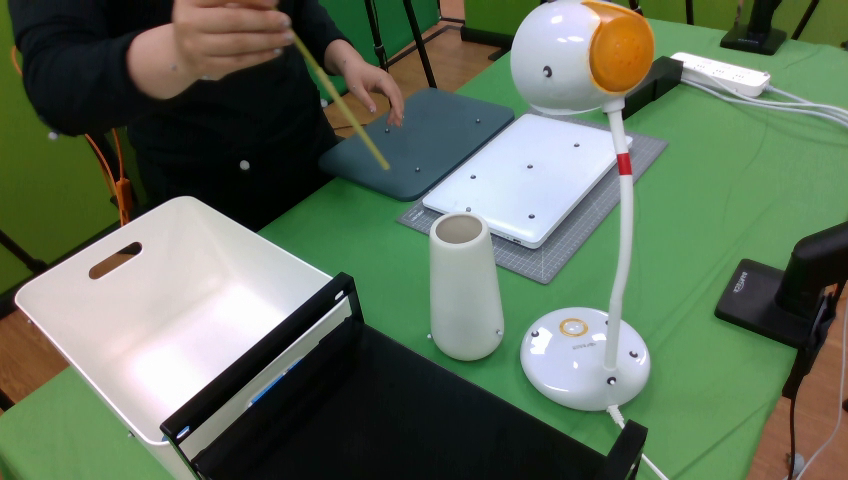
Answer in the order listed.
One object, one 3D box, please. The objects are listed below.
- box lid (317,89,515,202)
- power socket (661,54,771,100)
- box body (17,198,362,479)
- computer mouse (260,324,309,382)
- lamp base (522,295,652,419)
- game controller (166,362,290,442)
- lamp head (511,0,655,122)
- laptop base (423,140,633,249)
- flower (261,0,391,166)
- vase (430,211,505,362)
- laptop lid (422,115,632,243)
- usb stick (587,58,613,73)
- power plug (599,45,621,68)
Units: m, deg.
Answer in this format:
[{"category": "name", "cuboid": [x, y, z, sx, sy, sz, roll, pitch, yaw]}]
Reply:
[{"category": "box lid", "cuboid": [-0.009, -0.207, 1.236, 0.261, 0.015, 0.372, 23, 48, 32]}, {"category": "power socket", "cuboid": [0.615, -0.348, 1.285, 0.072, 0.033, 0.225, -36, 48, -28]}, {"category": "box body", "cuboid": [-0.285, 0.123, 0.766, 0.361, 0.161, 0.255, 25, 49, 33]}, {"category": "computer mouse", "cuboid": [-0.157, 0.155, 0.793, 0.116, 0.041, 0.063, 29, 50, 24]}, {"category": "lamp base", "cuboid": [0.201, 0.095, 0.710, 0.161, 0.181, 0.177, -16, 43, -10]}, {"category": "game controller", "cuboid": [-0.233, 0.210, 0.737, 0.096, 0.052, 0.155, 27, 52, 32]}, {"category": "lamp head", "cuboid": [0.155, -0.168, 0.564, 0.113, 0.113, 0.122, -18, 23, -12]}, {"category": "laptop base", "cuboid": [0.194, -0.117, 1.087, 0.233, 0.023, 0.355, 20, 47, 34]}, {"category": "flower", "cuboid": [-0.121, -0.187, 0.564, 0.043, 0.365, 0.038, 8, 61, 36]}, {"category": "vase", "cuboid": [0.053, 0.062, 0.758, 0.098, 0.201, 0.097, -3, 40, 3]}, {"category": "laptop lid", "cuboid": [0.190, -0.126, 1.081, 0.239, 0.013, 0.358, 23, 48, 34]}, {"category": "usb stick", "cuboid": [0.401, -0.399, 1.381, 0.059, 0.027, 0.021, 0, 47, 21]}, {"category": "power plug", "cuboid": [0.437, -0.422, 1.413, 0.053, 0.035, 0.072, -18, 75, -47]}]
